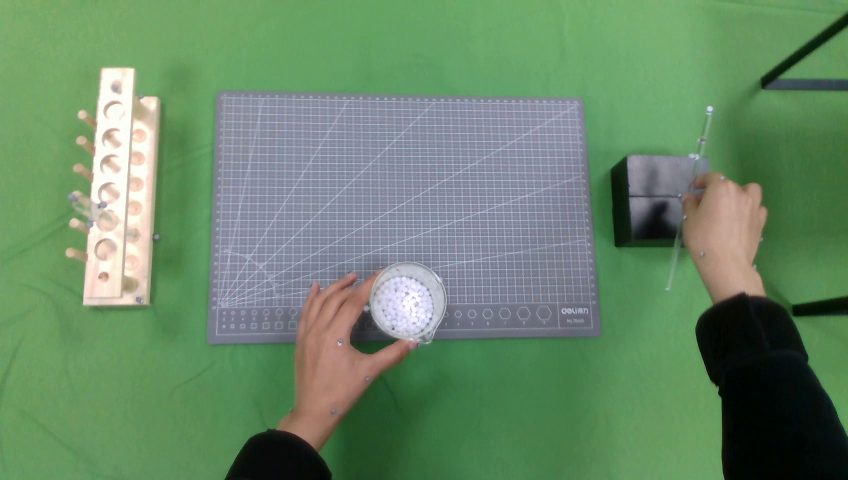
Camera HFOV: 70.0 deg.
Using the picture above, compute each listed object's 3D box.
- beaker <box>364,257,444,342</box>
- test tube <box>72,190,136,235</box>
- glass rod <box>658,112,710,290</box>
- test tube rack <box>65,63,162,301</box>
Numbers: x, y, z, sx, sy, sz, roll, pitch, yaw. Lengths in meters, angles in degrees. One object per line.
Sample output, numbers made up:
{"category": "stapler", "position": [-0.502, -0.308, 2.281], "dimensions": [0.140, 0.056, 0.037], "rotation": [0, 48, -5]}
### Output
{"category": "beaker", "position": [-0.021, 0.066, 0.616], "dimensions": [0.074, 0.100, 0.084], "rotation": [-26, 84, -10]}
{"category": "test tube", "position": [-0.311, -0.024, 0.595], "dimensions": [0.017, 0.150, 0.017], "rotation": [2, 80, -11]}
{"category": "glass rod", "position": [0.284, -0.042, 0.664], "dimensions": [0.008, 0.008, 0.200], "rotation": [12, 97, -3]}
{"category": "test tube rack", "position": [-0.336, -0.059, 0.650], "dimensions": [0.067, 0.085, 0.241], "rotation": [0, 80, -6]}
